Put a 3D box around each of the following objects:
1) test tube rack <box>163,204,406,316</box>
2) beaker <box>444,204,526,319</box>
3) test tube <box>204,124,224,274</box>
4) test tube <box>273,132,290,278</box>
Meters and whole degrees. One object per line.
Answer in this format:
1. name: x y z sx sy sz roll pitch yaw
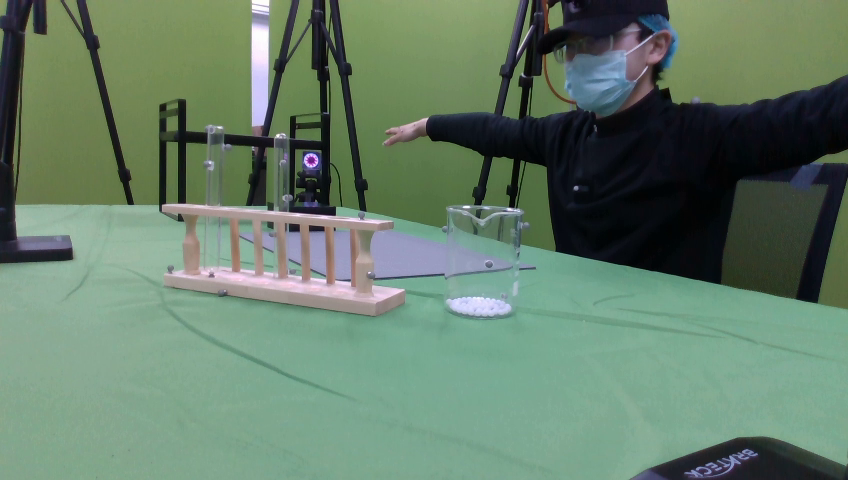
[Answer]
1. test tube rack: -0.141 0.013 0.601 0.241 0.085 0.067 5 8 21
2. beaker: 0.055 0.019 0.563 0.074 0.100 0.084 3 8 8
3. test tube: -0.210 -0.040 0.603 0.017 0.150 0.017 5 10 -1
4. test tube: -0.146 -0.034 0.617 0.017 0.150 0.017 2 8 0
